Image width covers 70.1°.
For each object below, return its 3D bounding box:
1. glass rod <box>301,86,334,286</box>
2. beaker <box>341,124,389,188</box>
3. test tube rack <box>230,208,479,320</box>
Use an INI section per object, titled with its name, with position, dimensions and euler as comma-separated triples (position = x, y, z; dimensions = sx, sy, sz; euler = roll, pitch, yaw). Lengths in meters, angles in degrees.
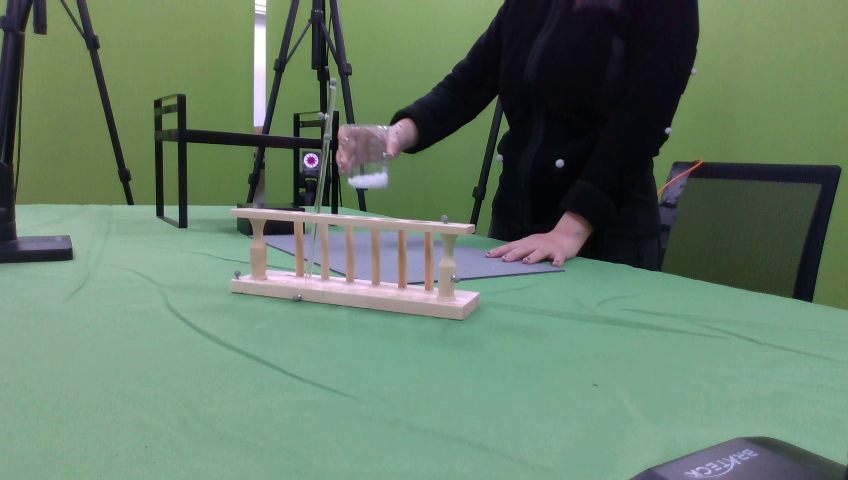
[glass rod]
position = -0.104, -0.049, 0.587
dimensions = 0.008, 0.199, 0.008
euler = 9, 7, -1
[beaker]
position = -0.091, -0.136, 0.980
dimensions = 0.083, 0.100, 0.074
euler = 7, 12, 43
[test tube rack]
position = -0.069, 0.017, 0.598
dimensions = 0.242, 0.085, 0.067
euler = 5, 8, 18
